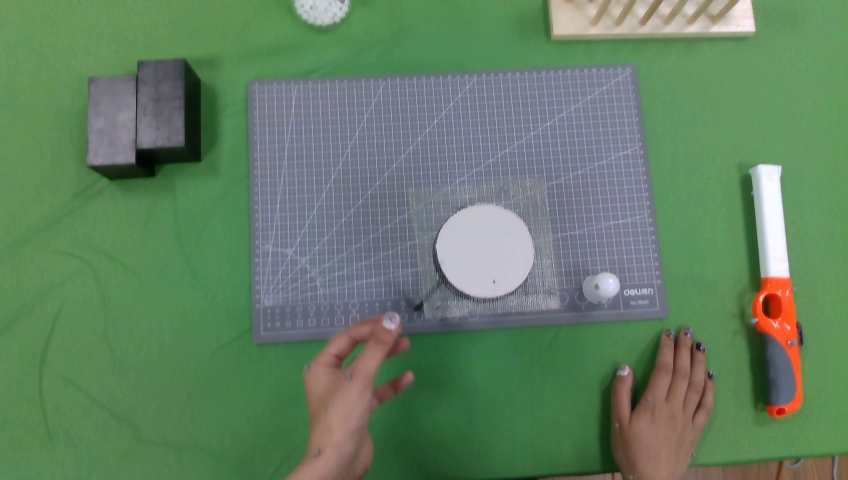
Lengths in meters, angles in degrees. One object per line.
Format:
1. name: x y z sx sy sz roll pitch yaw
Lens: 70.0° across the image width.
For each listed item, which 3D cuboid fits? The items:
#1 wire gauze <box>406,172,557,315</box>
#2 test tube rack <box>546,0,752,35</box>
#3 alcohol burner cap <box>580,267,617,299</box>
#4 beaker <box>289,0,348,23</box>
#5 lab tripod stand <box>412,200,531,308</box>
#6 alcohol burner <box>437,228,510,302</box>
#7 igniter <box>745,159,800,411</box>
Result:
1. wire gauze: 0.051 0.001 0.535 0.125 0.011 0.121 -5 79 -4
2. test tube rack: 0.268 -0.288 0.687 0.242 0.085 0.066 -2 80 -2
3. alcohol burner cap: 0.189 0.045 0.648 0.034 0.048 0.033 0 79 -1
4. beaker: -0.120 -0.291 0.665 0.074 0.100 0.084 -34 84 -7
5. lab tripod stand: 0.047 0.017 0.601 0.148 0.132 0.148 0 79 0
6. alcohol burner: 0.051 0.022 0.610 0.078 0.119 0.077 1 78 -3
7. igniter: 0.381 0.046 0.666 0.057 0.025 0.275 2 81 -12
